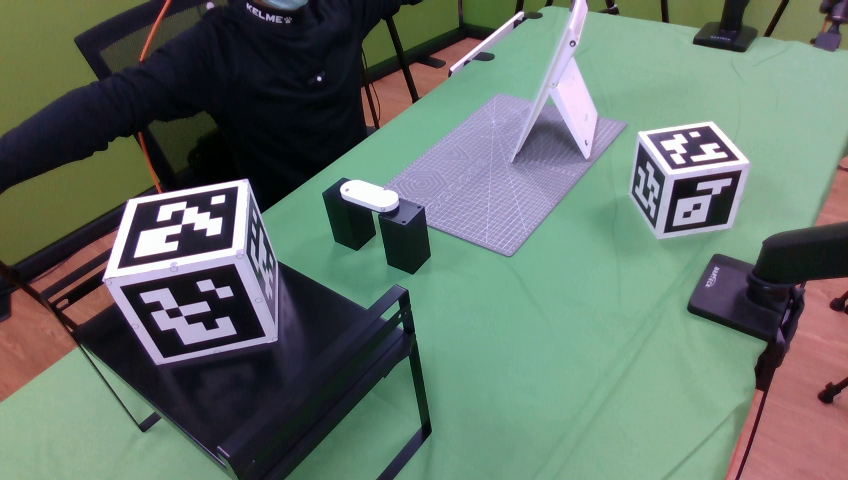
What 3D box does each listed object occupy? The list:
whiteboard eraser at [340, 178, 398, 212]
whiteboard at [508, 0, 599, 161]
[{"bbox_3d":[-0.083,-0.068,0.906,0.100,0.019,0.041,20,49,29],"label":"whiteboard eraser"},{"bbox_3d":[0.285,-0.289,1.088,0.144,0.305,0.217,22,45,3],"label":"whiteboard"}]
